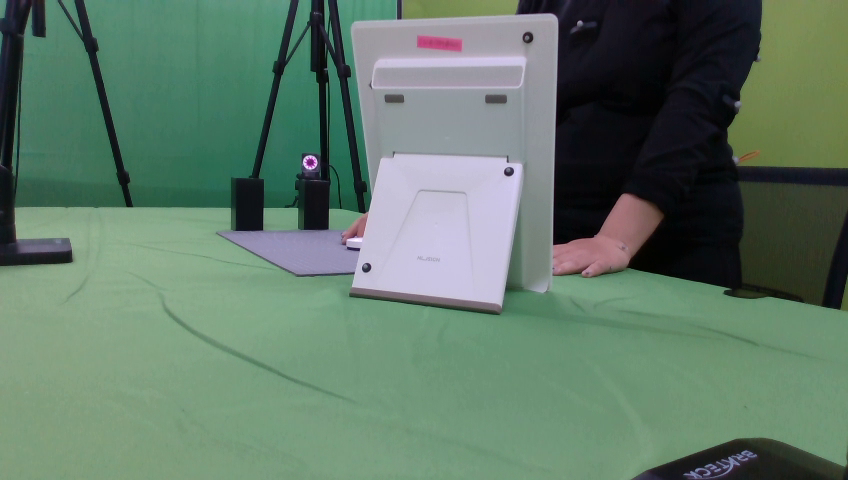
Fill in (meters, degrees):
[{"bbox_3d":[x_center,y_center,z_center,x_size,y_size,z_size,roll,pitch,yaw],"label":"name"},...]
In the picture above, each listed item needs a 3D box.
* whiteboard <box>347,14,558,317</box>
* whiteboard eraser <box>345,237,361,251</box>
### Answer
[{"bbox_3d":[0.012,-0.056,0.608,0.216,0.305,0.144,6,27,20],"label":"whiteboard"},{"bbox_3d":[-0.083,0.004,0.970,0.041,0.019,0.102,9,9,41],"label":"whiteboard eraser"}]
